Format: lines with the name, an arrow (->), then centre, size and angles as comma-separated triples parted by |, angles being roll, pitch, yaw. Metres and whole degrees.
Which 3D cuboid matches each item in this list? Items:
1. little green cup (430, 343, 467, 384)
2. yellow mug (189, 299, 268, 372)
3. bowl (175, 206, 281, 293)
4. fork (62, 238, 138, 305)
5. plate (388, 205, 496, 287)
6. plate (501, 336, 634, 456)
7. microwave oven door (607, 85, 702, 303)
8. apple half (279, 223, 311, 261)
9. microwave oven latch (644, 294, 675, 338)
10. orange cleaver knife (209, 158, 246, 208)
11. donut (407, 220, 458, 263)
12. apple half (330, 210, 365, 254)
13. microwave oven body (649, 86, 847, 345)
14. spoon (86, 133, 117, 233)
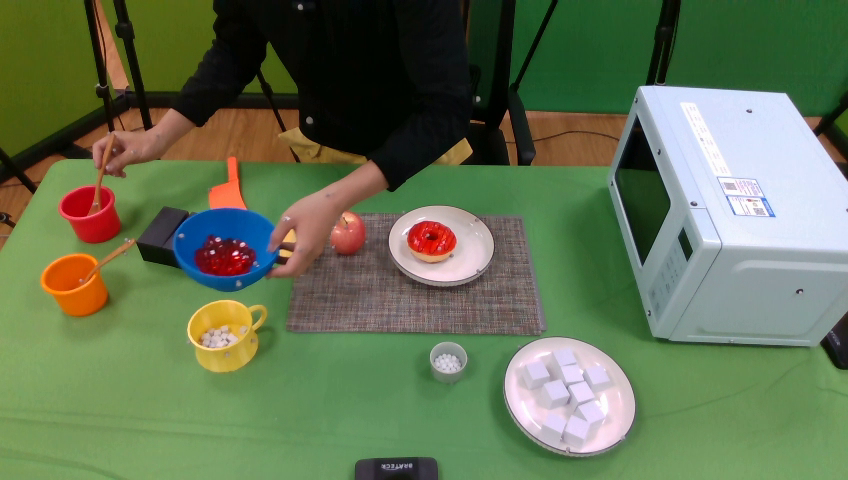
little green cup -> 0.039, 0.203, 0.994 | 0.061, 0.039, 0.061 | 2, 46, -2
yellow mug -> -0.316, 0.148, 1.002 | 0.131, 0.064, 0.099 | -32, 56, -31
bowl -> -0.297, 0.026, 0.927 | 0.151, 0.077, 0.150 | 8, 43, -8
fork -> -0.547, 0.053, 1.018 | 0.207, 0.019, 0.028 | -36, 41, 23
plate -> 0.033, 0.014, 1.171 | 0.209, 0.038, 0.208 | 2, 46, -2
plate -> 0.225, 0.248, 0.964 | 0.208, 0.039, 0.206 | 2, 46, -2
microwave oven door -> 0.423, -0.094, 1.140 | 0.039, 0.245, 0.353 | 2, 46, -1
apple half -> -0.241, 0.007, 1.157 | 0.081, 0.033, 0.081 | -17, 54, 25
microwave oven latch -> 0.411, 0.133, 1.062 | 0.030, 0.029, 0.078 | 1, 45, -2
orange cleaver knife -> -0.409, -0.098, 1.267 | 0.077, 0.012, 0.210 | -13, 49, -10
donut -> 0.016, 0.002, 1.166 | 0.099, 0.048, 0.098 | 3, 44, -2
apple half -> -0.140, -0.009, 1.157 | 0.053, 0.075, 0.080 | 17, 43, 8
microwave oven body -> 0.568, -0.053, 1.118 | 0.326, 0.261, 0.439 | 2, 45, -1
spoon -> -0.603, -0.107, 1.136 | 0.041, 0.194, 0.022 | 21, 10, 32
